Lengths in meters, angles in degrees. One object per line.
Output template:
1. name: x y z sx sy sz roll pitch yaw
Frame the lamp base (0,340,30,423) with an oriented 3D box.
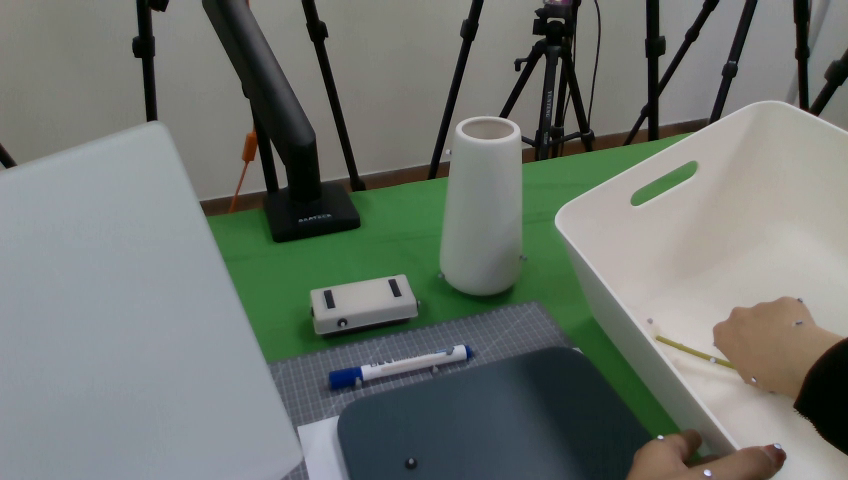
1. lamp base: -0.468 0.082 0.520 0.178 0.182 0.160 11 36 19

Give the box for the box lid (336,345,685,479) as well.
1. box lid: 0.095 0.230 0.460 0.264 0.015 0.367 -11 36 -16

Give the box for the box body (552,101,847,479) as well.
1. box body: 0.311 0.064 0.513 0.254 0.162 0.360 -29 37 1

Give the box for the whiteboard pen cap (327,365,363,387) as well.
1. whiteboard pen cap: -0.077 0.133 0.594 0.033 0.018 0.018 -7 35 -15

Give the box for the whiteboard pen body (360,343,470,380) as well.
1. whiteboard pen body: -0.020 0.124 0.608 0.141 0.017 0.017 -9 35 -14

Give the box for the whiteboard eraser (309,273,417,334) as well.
1. whiteboard eraser: -0.068 0.071 0.668 0.113 0.042 0.055 -10 34 -14

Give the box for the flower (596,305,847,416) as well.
1. flower: 0.321 0.132 0.543 0.358 0.038 0.044 22 -4 38

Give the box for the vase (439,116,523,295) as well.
1. vase: 0.069 -0.035 0.686 0.098 0.201 0.097 1 34 0

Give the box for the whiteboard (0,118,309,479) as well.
1. whiteboard: -0.255 0.092 0.448 0.143 0.307 0.217 7 30 45
